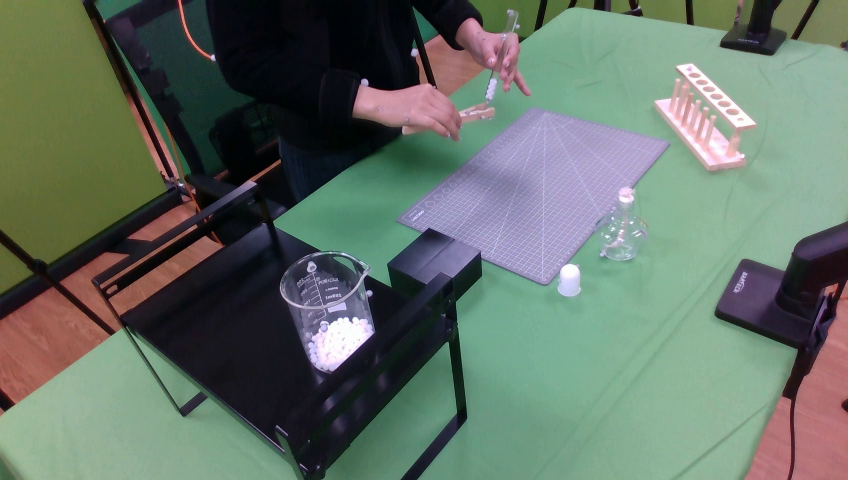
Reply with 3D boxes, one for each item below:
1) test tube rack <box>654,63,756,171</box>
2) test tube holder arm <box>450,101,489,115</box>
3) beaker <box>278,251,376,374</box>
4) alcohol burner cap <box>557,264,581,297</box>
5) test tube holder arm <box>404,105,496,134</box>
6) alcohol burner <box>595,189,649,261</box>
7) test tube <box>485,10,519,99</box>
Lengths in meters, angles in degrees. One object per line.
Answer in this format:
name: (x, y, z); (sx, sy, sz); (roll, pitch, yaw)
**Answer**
test tube rack: (0.510, -0.233, 1.120); (0.067, 0.085, 0.241); (-8, 41, -1)
test tube holder arm: (0.077, -0.216, 1.018); (0.088, 0.015, 0.010); (-28, 48, -36)
beaker: (-0.084, 0.070, 0.569); (0.084, 0.101, 0.073); (-18, 42, -13)
alcohol burner cap: (0.208, 0.055, 0.866); (0.034, 0.048, 0.033); (-4, 41, 4)
test tube holder arm: (0.045, -0.198, 0.991); (0.179, 0.015, 0.013); (-20, 43, -29)
alcohol burner: (0.294, -0.028, 0.894); (0.078, 0.119, 0.077); (-4, 43, 4)
test tube: (0.125, -0.297, 0.982); (0.017, 0.150, 0.017); (9, 39, -7)
